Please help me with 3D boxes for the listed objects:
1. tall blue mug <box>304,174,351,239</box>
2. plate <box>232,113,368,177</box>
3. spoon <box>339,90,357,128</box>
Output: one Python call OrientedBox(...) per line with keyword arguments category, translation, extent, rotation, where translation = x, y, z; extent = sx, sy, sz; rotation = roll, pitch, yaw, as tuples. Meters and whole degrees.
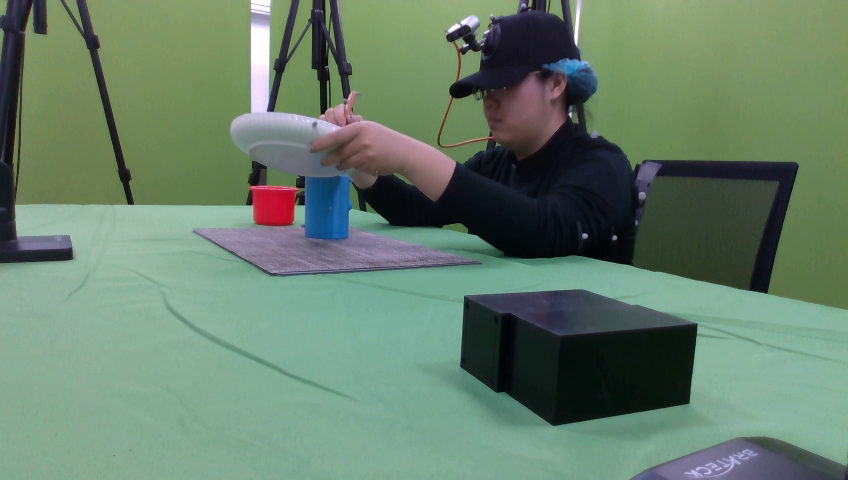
OrientedBox(category="tall blue mug", translation=(-0.178, -0.062, 1.062), extent=(0.078, 0.108, 0.106), rotation=(-5, 11, -38))
OrientedBox(category="plate", translation=(-0.193, -0.138, 0.939), extent=(0.208, 0.039, 0.208), rotation=(6, -11, 2))
OrientedBox(category="spoon", translation=(-0.151, -0.197, 1.068), extent=(0.041, 0.022, 0.193), rotation=(3, 52, 18))
